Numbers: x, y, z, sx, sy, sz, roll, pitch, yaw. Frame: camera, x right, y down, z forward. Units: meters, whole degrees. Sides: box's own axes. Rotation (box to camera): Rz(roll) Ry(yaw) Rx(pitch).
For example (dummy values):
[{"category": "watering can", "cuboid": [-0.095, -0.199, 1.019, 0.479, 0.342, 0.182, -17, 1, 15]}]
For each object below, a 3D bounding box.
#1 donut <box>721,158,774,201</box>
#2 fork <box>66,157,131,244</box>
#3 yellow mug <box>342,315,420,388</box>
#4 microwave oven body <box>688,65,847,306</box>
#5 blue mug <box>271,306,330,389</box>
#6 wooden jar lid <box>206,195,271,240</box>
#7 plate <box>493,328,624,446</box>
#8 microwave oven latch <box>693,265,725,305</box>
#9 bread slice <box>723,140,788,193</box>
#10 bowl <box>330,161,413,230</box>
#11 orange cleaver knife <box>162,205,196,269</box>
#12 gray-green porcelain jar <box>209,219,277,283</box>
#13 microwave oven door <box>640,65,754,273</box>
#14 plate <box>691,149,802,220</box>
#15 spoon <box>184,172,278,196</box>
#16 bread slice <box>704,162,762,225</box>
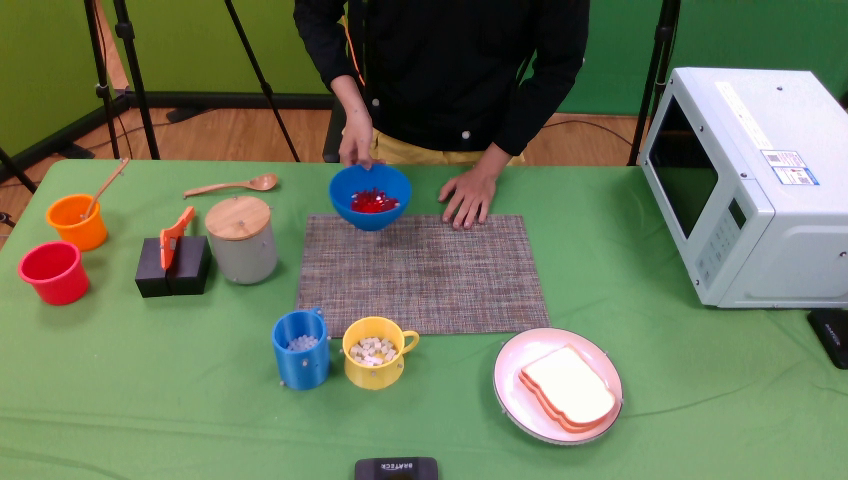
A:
[{"category": "donut", "cuboid": [0.648, -0.122, 1.215, 0.099, 0.048, 0.098, -3, 55, 5]}, {"category": "fork", "cuboid": [-0.608, -0.074, 1.132, 0.207, 0.019, 0.028, -52, 48, 10]}, {"category": "yellow mug", "cuboid": [-0.068, 0.177, 0.990, 0.131, 0.064, 0.099, -16, 50, -19]}, {"category": "microwave oven body", "cuboid": [0.669, -0.111, 1.176, 0.326, 0.261, 0.439, 0, 46, -3]}, {"category": "blue mug", "cuboid": [-0.188, 0.163, 0.969, 0.082, 0.106, 0.116, 15, 47, 10]}, {"category": "wooden jar lid", "cuboid": [-0.319, -0.036, 1.046, 0.108, 0.021, 0.107, 1, 44, 0]}, {"category": "plate", "cuboid": [0.213, 0.236, 0.974, 0.208, 0.039, 0.206, 2, 46, -2]}, {"category": "microwave oven latch", "cuboid": [0.523, 0.081, 1.115, 0.030, 0.029, 0.078, 2, 46, -1]}, {"category": "bread slice", "cuboid": [0.661, -0.147, 1.201, 0.107, 0.018, 0.133, 0, 53, 9]}, {"category": "bowl", "cuboid": [-0.098, -0.071, 1.127, 0.151, 0.077, 0.150, 3, 44, -3]}, {"category": "orange cleaver knife", "cuboid": [-0.454, -0.010, 1.129, 0.012, 0.077, 0.210, -2, 20, -5]}, {"category": "gray-green porcelain jar", "cuboid": [-0.323, 0.007, 1.092, 0.106, 0.127, 0.105, 2, 46, -2]}, {"category": "microwave oven door", "cuboid": [0.523, -0.147, 1.193, 0.039, 0.245, 0.353, 0, 47, -3]}, {"category": "plate", "cuboid": [0.652, -0.108, 1.237, 0.209, 0.038, 0.208, -1, 46, 1]}, {"category": "spoon", "cuboid": [-0.405, -0.116, 1.275, 0.194, 0.022, 0.041, -8, 66, -12]}, {"category": "bread slice", "cuboid": [0.649, -0.103, 1.265, 0.105, 0.019, 0.131, 14, 71, 11]}]
